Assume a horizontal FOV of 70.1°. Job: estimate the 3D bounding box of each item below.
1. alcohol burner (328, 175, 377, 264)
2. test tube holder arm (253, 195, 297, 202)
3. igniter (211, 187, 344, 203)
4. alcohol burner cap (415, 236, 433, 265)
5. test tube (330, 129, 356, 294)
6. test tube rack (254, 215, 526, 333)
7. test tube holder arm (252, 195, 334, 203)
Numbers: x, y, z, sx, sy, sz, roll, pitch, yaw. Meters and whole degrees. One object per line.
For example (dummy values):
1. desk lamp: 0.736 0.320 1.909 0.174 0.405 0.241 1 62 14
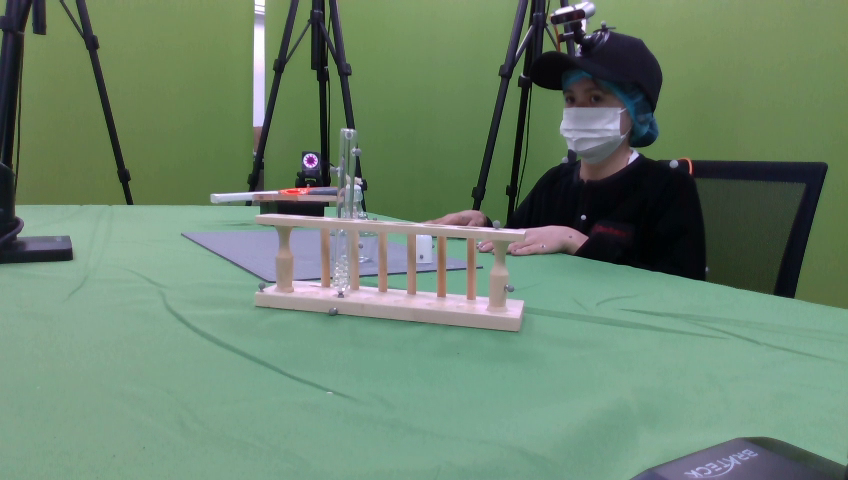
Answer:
1. alcohol burner: -0.098 -0.028 0.819 0.078 0.119 0.078 1 8 0
2. test tube holder arm: -0.294 -0.082 1.194 0.088 0.015 0.010 -4 7 -38
3. igniter: -0.299 -0.095 1.266 0.278 0.025 0.057 -6 12 -34
4. alcohol burner cap: -0.004 0.011 0.835 0.034 0.048 0.034 2 7 0
5. test tube: -0.074 -0.025 0.548 0.017 0.150 0.017 4 6 0
6. test tube rack: -0.030 0.025 0.557 0.242 0.085 0.067 4 7 12
7. test tube holder arm: -0.262 -0.085 1.227 0.179 0.015 0.013 -4 7 -39
